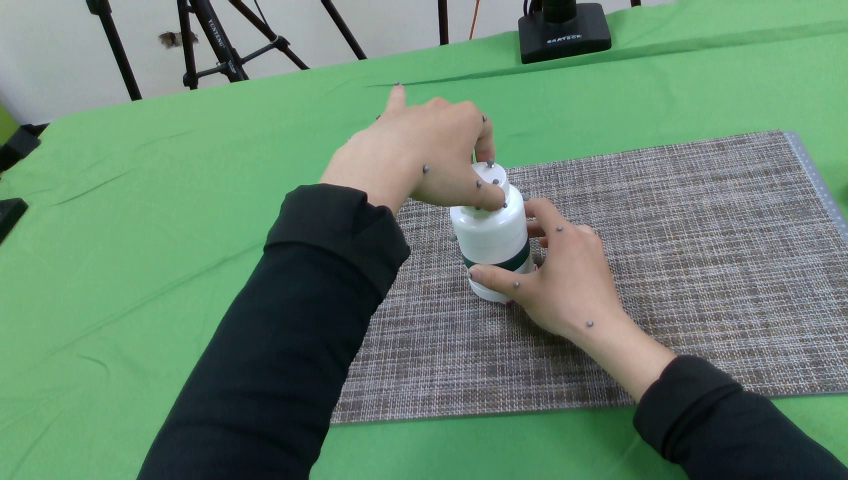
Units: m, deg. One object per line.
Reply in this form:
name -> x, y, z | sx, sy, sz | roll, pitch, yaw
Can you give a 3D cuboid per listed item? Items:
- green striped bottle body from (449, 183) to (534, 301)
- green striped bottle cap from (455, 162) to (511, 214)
green striped bottle body -> 0.059, -0.006, 0.529 | 0.063, 0.120, 0.062 | -9, 45, 10
green striped bottle cap -> 0.047, -0.042, 0.491 | 0.044, 0.020, 0.044 | -13, 45, 13
